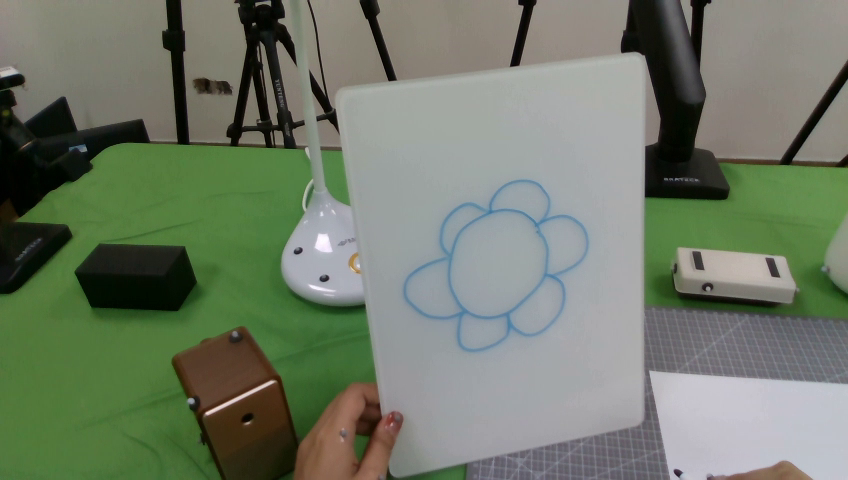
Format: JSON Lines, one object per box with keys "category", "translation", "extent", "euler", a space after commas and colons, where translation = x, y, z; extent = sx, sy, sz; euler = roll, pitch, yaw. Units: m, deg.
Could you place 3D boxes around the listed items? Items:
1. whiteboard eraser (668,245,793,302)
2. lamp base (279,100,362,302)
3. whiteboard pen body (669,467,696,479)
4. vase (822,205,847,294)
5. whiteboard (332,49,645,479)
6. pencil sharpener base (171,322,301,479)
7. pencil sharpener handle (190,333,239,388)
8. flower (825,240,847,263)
{"category": "whiteboard eraser", "translation": [0.317, 0.037, 0.634], "extent": [0.112, 0.042, 0.055], "euler": [4, 36, 10]}
{"category": "lamp base", "translation": [-0.097, -0.051, 0.659], "extent": [0.161, 0.182, 0.177], "euler": [-28, 41, -30]}
{"category": "whiteboard pen body", "translation": [0.192, 0.167, 0.341], "extent": [0.017, 0.017, 0.139], "euler": [-19, 20, -20]}
{"category": "vase", "translation": [0.469, -0.033, 0.587], "extent": [0.098, 0.202, 0.097], "euler": [-1, 37, 1]}
{"category": "whiteboard", "translation": [0.051, 0.010, 0.512], "extent": [0.217, 0.307, 0.143], "euler": [-9, 18, -7]}
{"category": "pencil sharpener base", "translation": [-0.147, 0.130, 0.478], "extent": [0.061, 0.108, 0.076], "euler": [-24, 41, -26]}
{"category": "pencil sharpener handle", "translation": [-0.175, 0.096, 0.505], "extent": [0.036, 0.068, 0.030], "euler": [-31, 44, -21]}
{"category": "flower", "translation": [0.474, -0.090, 0.525], "extent": [0.044, 0.364, 0.038], "euler": [-11, 55, -21]}
